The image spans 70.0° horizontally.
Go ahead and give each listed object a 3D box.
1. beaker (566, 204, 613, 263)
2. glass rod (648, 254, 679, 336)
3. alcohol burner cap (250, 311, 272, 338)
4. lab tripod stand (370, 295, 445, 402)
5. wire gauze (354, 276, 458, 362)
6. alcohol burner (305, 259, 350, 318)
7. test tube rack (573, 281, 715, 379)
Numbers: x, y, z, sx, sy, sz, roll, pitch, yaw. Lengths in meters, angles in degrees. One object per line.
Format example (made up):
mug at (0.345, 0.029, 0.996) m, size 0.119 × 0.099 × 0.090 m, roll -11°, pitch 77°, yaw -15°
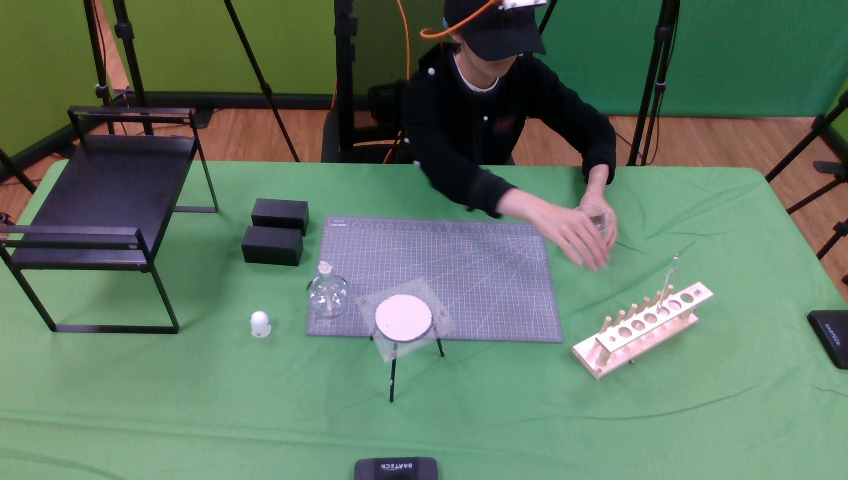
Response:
beaker at (0.318, -0.011, 1.169) m, size 0.084 × 0.101 × 0.073 m, roll -20°, pitch 52°, yaw -17°
glass rod at (0.391, 0.094, 0.991) m, size 0.008 × 0.201 × 0.008 m, roll -2°, pitch 44°, yaw 2°
alcohol burner cap at (-0.278, 0.141, 1.026) m, size 0.034 × 0.048 × 0.033 m, roll 1°, pitch 46°, yaw -1°
lab tripod stand at (-0.036, 0.160, 0.959) m, size 0.148 × 0.132 × 0.147 m, roll 1°, pitch 46°, yaw 0°
wire gauze at (-0.029, 0.113, 0.912) m, size 0.121 × 0.011 × 0.124 m, roll -18°, pitch 49°, yaw -19°
alcohol burner at (-0.166, 0.078, 1.040) m, size 0.078 × 0.120 × 0.077 m, roll 1°, pitch 44°, yaw -1°
test tube rack at (0.378, 0.140, 1.038) m, size 0.242 × 0.085 × 0.066 m, roll -22°, pitch 51°, yaw -22°
